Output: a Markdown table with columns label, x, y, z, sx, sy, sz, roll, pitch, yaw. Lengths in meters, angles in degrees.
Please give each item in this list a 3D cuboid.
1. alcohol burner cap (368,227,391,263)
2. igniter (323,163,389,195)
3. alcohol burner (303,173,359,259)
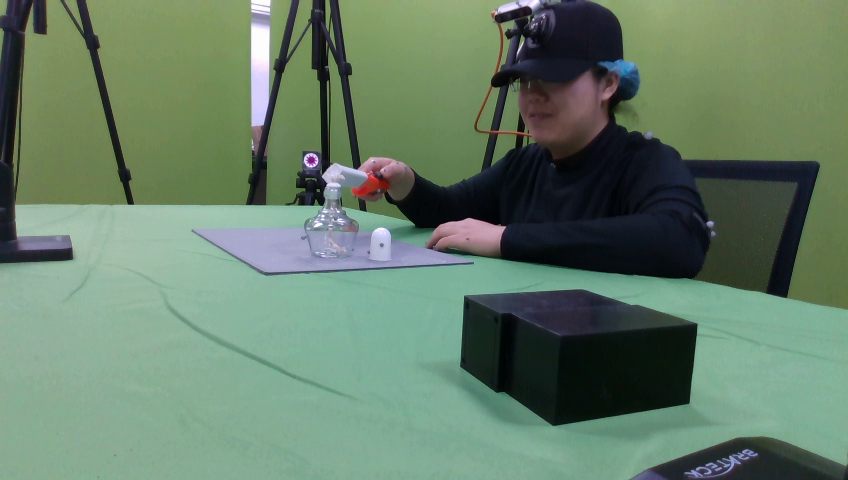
| label | x | y | z | sx | sy | sz | roll | pitch | yaw |
| --- | --- | --- | --- | --- | --- | --- | --- | --- | --- |
| alcohol burner cap | -0.060 | 0.006 | 0.836 | 0.034 | 0.048 | 0.034 | 3 | 6 | 0 |
| igniter | -0.104 | -0.098 | 0.998 | 0.057 | 0.025 | 0.277 | -42 | -7 | 9 |
| alcohol burner | -0.130 | -0.034 | 0.850 | 0.078 | 0.119 | 0.078 | 2 | 5 | 0 |
